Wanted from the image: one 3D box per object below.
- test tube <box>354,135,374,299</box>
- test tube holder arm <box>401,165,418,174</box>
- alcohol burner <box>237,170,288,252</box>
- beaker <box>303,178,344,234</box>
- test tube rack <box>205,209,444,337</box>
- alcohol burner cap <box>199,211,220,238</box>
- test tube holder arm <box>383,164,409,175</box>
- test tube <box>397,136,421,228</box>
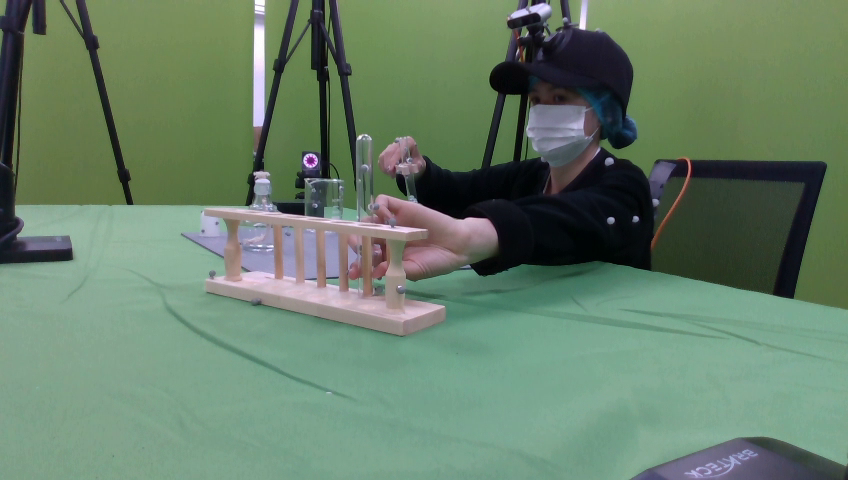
[{"bbox_3d":[-0.055,-0.019,0.549,0.017,0.150,0.017,0,9,0],"label":"test tube"},{"bbox_3d":[-0.031,-0.117,0.998,0.010,0.015,0.087,-9,11,-22],"label":"test tube holder arm"},{"bbox_3d":[-0.236,-0.042,0.882,0.078,0.119,0.078,2,9,0],"label":"alcohol burner"},{"bbox_3d":[-0.189,-0.063,1.119,0.073,0.100,0.084,6,9,28],"label":"beaker"},{"bbox_3d":[-0.100,0.021,0.565,0.241,0.085,0.067,7,9,32],"label":"test tube rack"},{"bbox_3d":[-0.356,-0.027,1.002,0.034,0.048,0.034,2,7,0],"label":"alcohol burner cap"},{"bbox_3d":[-0.050,-0.122,1.038,0.013,0.015,0.178,-7,10,-15],"label":"test tube holder arm"},{"bbox_3d":[-0.023,-0.093,0.979,0.017,0.150,0.017,-9,10,2],"label":"test tube"}]
